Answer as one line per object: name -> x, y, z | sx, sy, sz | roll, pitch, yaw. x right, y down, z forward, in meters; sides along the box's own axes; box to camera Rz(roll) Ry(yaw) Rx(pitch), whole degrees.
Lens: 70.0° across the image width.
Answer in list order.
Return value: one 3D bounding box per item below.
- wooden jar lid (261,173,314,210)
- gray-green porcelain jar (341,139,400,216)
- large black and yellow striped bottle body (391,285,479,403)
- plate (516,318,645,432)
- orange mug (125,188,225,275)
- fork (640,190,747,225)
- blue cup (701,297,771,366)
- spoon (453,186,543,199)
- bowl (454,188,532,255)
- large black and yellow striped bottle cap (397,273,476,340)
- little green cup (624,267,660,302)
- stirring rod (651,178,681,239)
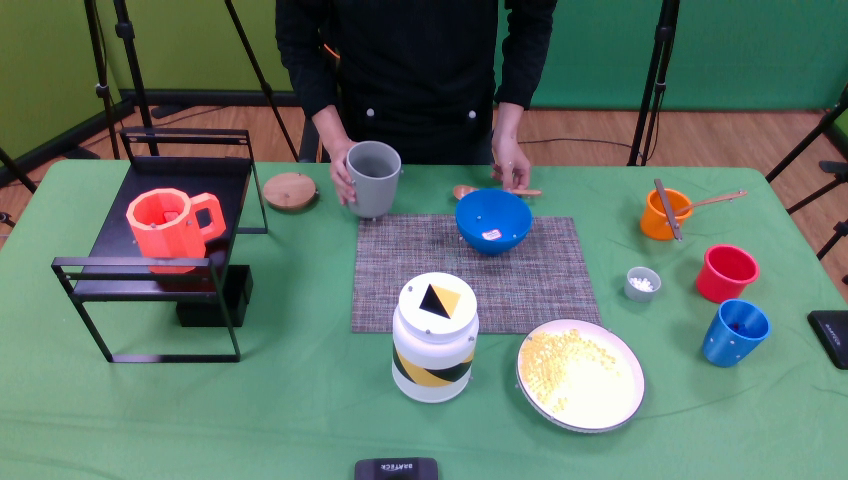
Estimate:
wooden jar lid -> -0.286, -0.101, 1.273 | 0.108, 0.021, 0.107 | 3, 45, -3
gray-green porcelain jar -> -0.107, -0.117, 1.193 | 0.106, 0.127, 0.105 | 7, 51, -8
large black and yellow striped bottle body -> 0.015, 0.153, 0.938 | 0.131, 0.185, 0.130 | 2, 46, -2
plate -> 0.253, 0.221, 0.992 | 0.209, 0.038, 0.208 | 2, 46, -2
orange mug -> -0.357, -0.020, 0.884 | 0.126, 0.101, 0.083 | -29, 54, -23
fork -> 0.533, -0.065, 1.211 | 0.207, 0.019, 0.028 | -22, 27, 38
blue cup -> 0.519, 0.162, 1.025 | 0.093, 0.101, 0.092 | 3, 45, -3
spoon -> 0.158, -0.102, 1.291 | 0.194, 0.022, 0.041 | -3, 52, 2
bowl -> 0.131, -0.025, 1.187 | 0.151, 0.077, 0.150 | 2, 46, -2
large black and yellow striped bottle cap -> 0.018, 0.094, 0.878 | 0.115, 0.019, 0.114 | 3, 46, -3
little green cup -> 0.406, 0.084, 1.135 | 0.061, 0.039, 0.061 | 3, 45, -3
stirring rod -> 0.479, -0.065, 1.204 | 0.014, 0.006, 0.175 | 3, 46, -4
